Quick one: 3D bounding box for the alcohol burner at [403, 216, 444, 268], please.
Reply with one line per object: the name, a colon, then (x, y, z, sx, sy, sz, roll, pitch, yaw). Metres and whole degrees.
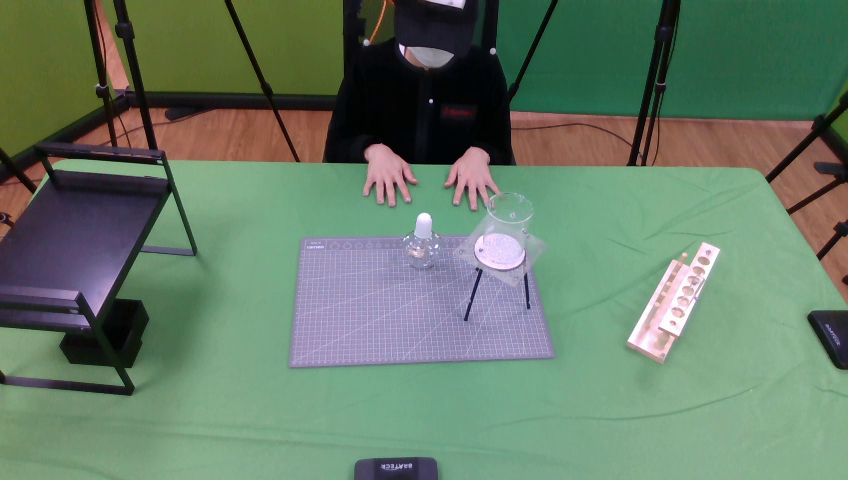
alcohol burner: (-0.001, -0.004, 1.132, 0.078, 0.120, 0.077, 1, 46, 0)

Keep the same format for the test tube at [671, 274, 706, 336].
test tube: (0.429, 0.112, 1.004, 0.017, 0.151, 0.017, 4, 43, -4)

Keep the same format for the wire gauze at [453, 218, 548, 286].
wire gauze: (0.129, 0.014, 1.019, 0.124, 0.011, 0.121, 26, 47, 25)

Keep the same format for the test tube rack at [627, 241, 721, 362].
test tube rack: (0.452, 0.098, 1.087, 0.066, 0.085, 0.242, 28, 51, 22)

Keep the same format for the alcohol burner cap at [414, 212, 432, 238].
alcohol burner cap: (0.000, -0.030, 1.107, 0.034, 0.048, 0.033, 4, 41, -3)

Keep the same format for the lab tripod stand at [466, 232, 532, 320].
lab tripod stand: (0.125, 0.059, 1.065, 0.148, 0.132, 0.147, 1, 45, 0)

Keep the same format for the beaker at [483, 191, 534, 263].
beaker: (0.135, -0.020, 0.983, 0.073, 0.101, 0.084, 28, 50, 23)
